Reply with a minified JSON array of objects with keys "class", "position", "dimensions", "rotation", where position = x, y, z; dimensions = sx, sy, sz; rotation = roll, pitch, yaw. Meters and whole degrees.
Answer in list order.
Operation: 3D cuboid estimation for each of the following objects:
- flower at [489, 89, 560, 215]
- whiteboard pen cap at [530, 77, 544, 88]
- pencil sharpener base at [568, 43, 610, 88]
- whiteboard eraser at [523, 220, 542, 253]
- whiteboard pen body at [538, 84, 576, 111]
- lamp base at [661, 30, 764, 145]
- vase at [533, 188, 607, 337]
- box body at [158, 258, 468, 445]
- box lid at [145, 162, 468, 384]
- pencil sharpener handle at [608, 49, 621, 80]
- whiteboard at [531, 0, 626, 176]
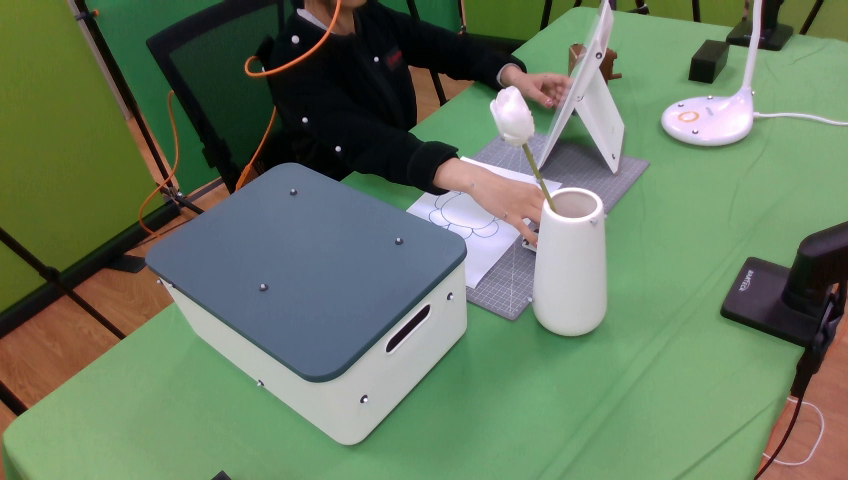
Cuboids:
[{"class":"flower","position":[0.158,-0.027,0.720],"dimensions":[0.038,0.364,0.044],"rotation":[-14,44,23]},{"class":"whiteboard pen cap","position":[0.248,-0.344,1.328],"dimensions":[0.018,0.018,0.033],"rotation":[-24,46,-17]},{"class":"pencil sharpener base","position":[0.345,-0.352,1.263],"dimensions":[0.077,0.107,0.061],"rotation":[-8,40,1]},{"class":"whiteboard eraser","position":[0.207,-0.014,0.937],"dimensions":[0.055,0.042,0.113],"rotation":[29,50,34]},{"class":"whiteboard pen body","position":[0.278,-0.308,1.290],"dimensions":[0.017,0.017,0.139],"rotation":[-25,46,-18]},{"class":"lamp base","position":[0.535,-0.287,1.096],"dimensions":[0.179,0.181,0.159],"rotation":[-10,40,-4]},{"class":"vase","position":[0.187,0.033,0.771],"dimensions":[0.098,0.201,0.097],"rotation":[-6,41,6]},{"class":"box body","position":[-0.147,0.072,0.816],"dimensions":[0.361,0.161,0.255],"rotation":[24,50,33]},{"class":"box lid","position":[-0.157,0.014,0.769],"dimensions":[0.368,0.015,0.264],"rotation":[25,51,33]},{"class":"pencil sharpener handle","position":[0.394,-0.367,1.253],"dimensions":[0.030,0.068,0.036],"rotation":[-8,32,1]},{"class":"whiteboard","position":[0.320,-0.258,1.050],"dimensions":[0.144,0.306,0.217],"rotation":[22,45,5]}]
